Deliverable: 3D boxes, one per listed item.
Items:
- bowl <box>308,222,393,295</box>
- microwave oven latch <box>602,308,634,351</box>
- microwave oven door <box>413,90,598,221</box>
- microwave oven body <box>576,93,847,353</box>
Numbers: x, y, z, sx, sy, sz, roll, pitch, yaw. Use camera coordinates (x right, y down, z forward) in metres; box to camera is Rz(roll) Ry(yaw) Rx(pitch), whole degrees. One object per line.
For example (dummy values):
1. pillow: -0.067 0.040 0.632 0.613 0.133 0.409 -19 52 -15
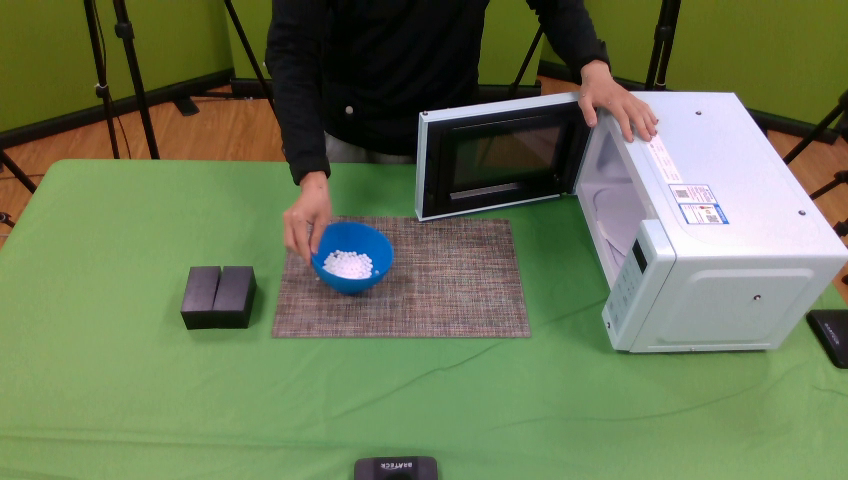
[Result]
1. bowl: -0.136 0.045 1.095 0.151 0.077 0.150 9 40 -8
2. microwave oven latch: 0.332 0.153 1.044 0.030 0.029 0.078 -1 45 -4
3. microwave oven door: 0.156 -0.165 1.198 0.356 0.245 0.039 -11 47 -15
4. microwave oven body: 0.475 -0.041 1.109 0.326 0.261 0.438 -1 45 -4
